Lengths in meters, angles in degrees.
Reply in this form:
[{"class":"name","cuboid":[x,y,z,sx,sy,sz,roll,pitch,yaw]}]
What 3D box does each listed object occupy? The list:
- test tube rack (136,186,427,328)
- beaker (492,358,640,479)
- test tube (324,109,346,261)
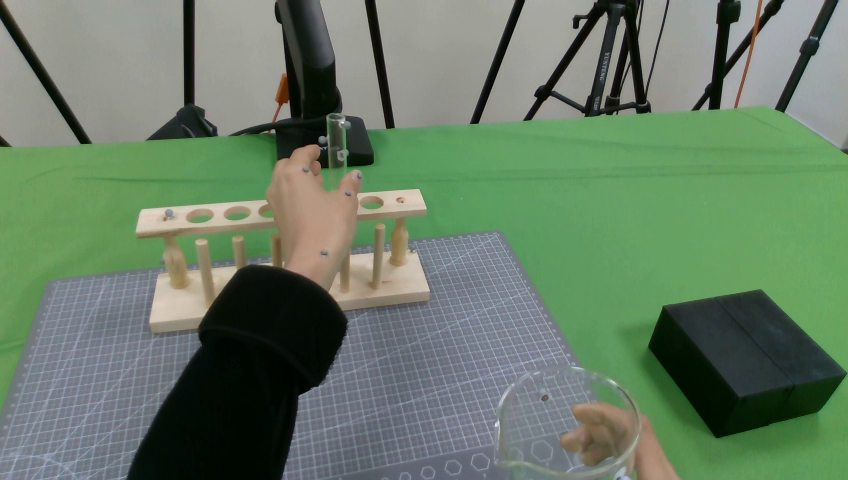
[{"class":"test tube rack","cuboid":[-0.120,0.012,0.544,0.243,0.086,0.066,-5,39,-12]},{"class":"beaker","cuboid":[0.078,0.131,0.343,0.084,0.101,0.073,-22,34,-20]},{"class":"test tube","cuboid":[-0.078,-0.044,0.539,0.017,0.151,0.017,2,34,-1]}]
